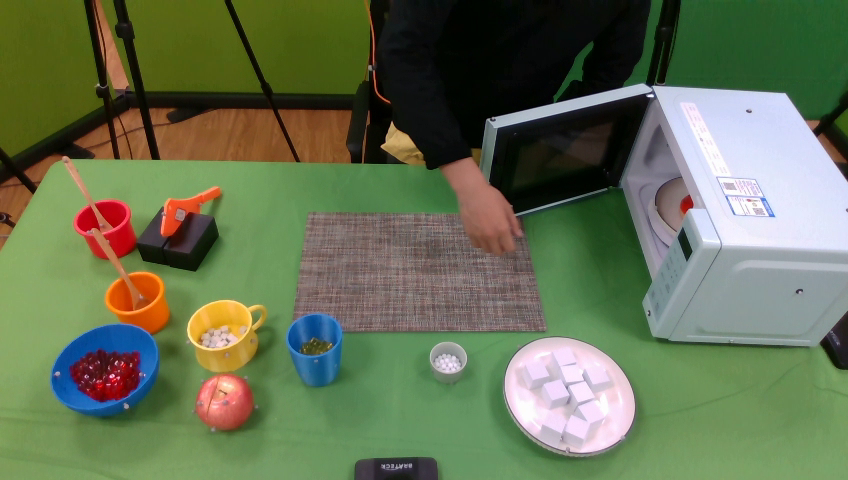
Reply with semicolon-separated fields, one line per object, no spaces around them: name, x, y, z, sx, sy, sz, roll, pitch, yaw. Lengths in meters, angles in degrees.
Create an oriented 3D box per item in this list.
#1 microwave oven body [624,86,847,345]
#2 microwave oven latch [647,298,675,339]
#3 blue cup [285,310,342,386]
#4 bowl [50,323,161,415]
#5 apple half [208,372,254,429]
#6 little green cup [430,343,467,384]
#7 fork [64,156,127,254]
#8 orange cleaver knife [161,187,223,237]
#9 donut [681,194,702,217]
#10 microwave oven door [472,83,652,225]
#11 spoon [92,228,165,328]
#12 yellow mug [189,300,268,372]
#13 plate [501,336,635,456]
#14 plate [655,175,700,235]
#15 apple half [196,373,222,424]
microwave oven body;0.567;-0.053;1.118;0.326;0.261;0.439;2;45;-1
microwave oven latch;0.412;0.134;1.061;0.030;0.029;0.078;5;45;2
blue cup;-0.170;0.179;0.958;0.093;0.101;0.092;2;44;-1
bowl;-0.472;0.209;0.924;0.151;0.077;0.150;3;45;-2
apple half;-0.282;0.244;0.908;0.053;0.075;0.080;7;43;-1
little green cup;0.039;0.203;0.993;0.061;0.039;0.061;2;47;-2
fork;-0.614;-0.064;1.130;0.028;0.018;0.207;-29;97;-16
orange cleaver knife;-0.448;-0.058;1.181;0.012;0.077;0.211;13;17;6
donut;0.551;-0.055;1.178;0.099;0.048;0.098;1;39;-1
microwave oven door;0.272;-0.171;1.205;0.356;0.245;0.039;-16;50;-18
spoon;-0.496;0.063;1.014;0.041;0.194;0.021;-34;13;-31
yellow mug;-0.315;0.149;1.001;0.131;0.064;0.099;-33;55;-31
plate;0.225;0.248;0.963;0.208;0.039;0.206;2;46;-2
plate;0.555;-0.047;1.182;0.209;0.038;0.208;1;45;-1
apple half;-0.322;0.240;0.907;0.033;0.081;0.081;7;46;0
